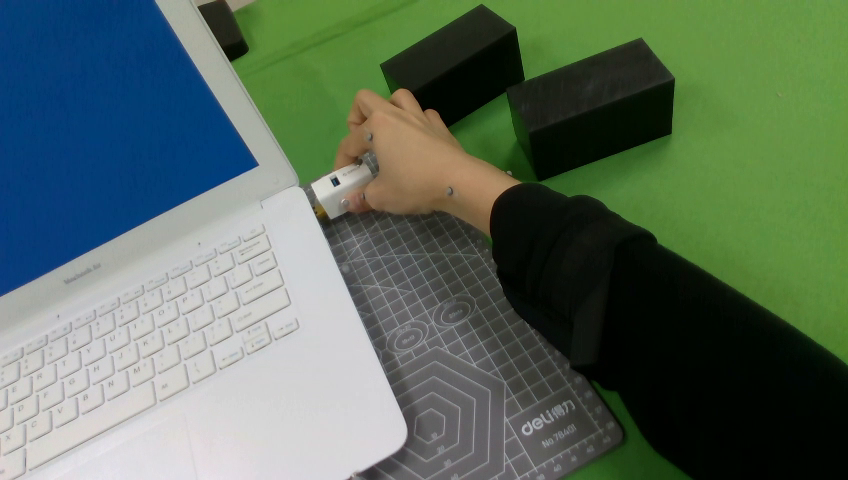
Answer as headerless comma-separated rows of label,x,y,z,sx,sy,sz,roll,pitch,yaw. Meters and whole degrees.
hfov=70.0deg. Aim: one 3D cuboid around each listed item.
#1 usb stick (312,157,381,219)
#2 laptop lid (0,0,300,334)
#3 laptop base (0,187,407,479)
usb stick,-0.064,-0.036,0.455,0.059,0.027,0.021,-31,49,-1
laptop lid,-0.291,-0.049,0.405,0.357,0.244,0.013,-29,36,-3
laptop base,-0.205,0.118,0.402,0.354,0.023,0.233,-28,54,-3
